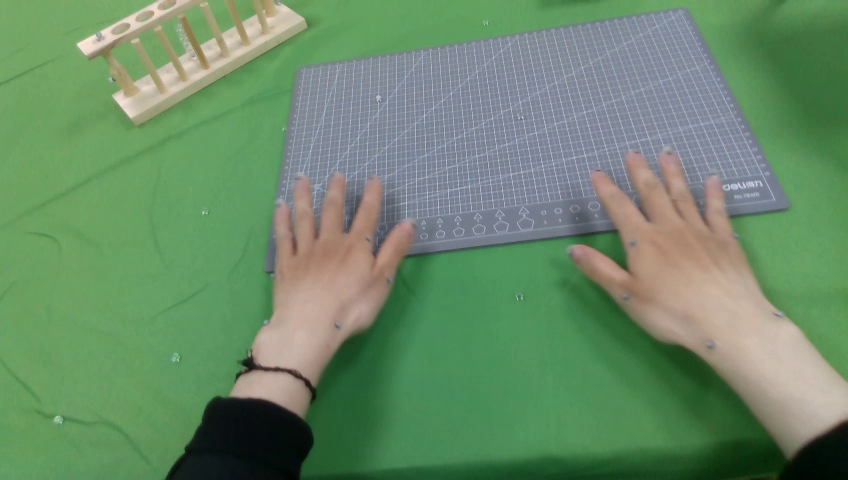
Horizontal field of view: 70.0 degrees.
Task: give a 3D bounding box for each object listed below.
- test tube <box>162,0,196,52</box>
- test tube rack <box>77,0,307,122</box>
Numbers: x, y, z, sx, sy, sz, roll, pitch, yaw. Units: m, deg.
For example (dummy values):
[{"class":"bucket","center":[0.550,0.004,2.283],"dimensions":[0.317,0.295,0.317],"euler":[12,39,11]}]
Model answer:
[{"class":"test tube","center":[-0.295,-0.284,0.691],"dimensions":[0.017,0.152,0.017],"euler":[-6,47,7]},{"class":"test tube rack","center":[-0.267,-0.249,0.723],"dimensions":[0.242,0.086,0.066],"euler":[-37,55,-17]}]
